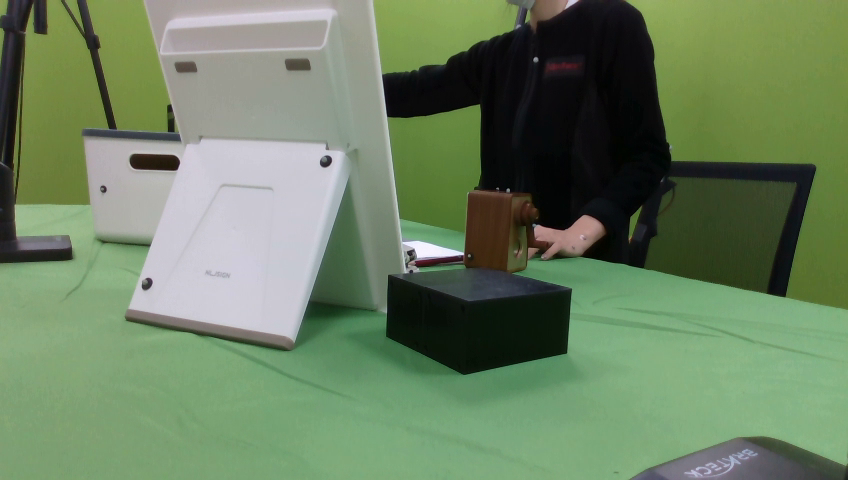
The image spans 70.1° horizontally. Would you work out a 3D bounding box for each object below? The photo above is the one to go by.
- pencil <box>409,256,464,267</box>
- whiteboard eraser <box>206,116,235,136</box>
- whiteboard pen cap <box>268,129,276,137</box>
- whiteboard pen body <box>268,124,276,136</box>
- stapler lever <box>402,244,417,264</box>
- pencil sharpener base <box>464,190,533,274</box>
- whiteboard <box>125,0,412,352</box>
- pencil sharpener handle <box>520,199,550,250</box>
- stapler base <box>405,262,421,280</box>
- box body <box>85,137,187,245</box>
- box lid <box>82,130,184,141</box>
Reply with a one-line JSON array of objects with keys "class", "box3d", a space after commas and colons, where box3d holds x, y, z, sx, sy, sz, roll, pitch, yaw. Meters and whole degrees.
[{"class": "pencil", "box3d": [0.042, 0.028, 0.848, 0.012, 0.012, 0.195, 10, 10, 43]}, {"class": "whiteboard eraser", "box3d": [-0.450, -0.252, 1.335, 0.056, 0.042, 0.112, 1, 7, -22]}, {"class": "whiteboard pen cap", "box3d": [-0.335, -0.236, 1.335, 0.018, 0.018, 0.033, 1, 15, -14]}, {"class": "whiteboard pen body", "box3d": [-0.349, -0.253, 1.389, 0.017, 0.017, 0.140, 1, 17, -13]}, {"class": "stapler lever", "box3d": [-0.066, 0.003, 0.755, 0.117, 0.040, 0.027, 9, 13, 23]}, {"class": "pencil sharpener base", "box3d": [0.102, -0.012, 0.812, 0.076, 0.107, 0.061, 8, 9, 36]}, {"class": "whiteboard", "box3d": [-0.151, -0.049, 0.472, 0.216, 0.305, 0.144, 6, 27, 24]}, {"class": "pencil sharpener handle", "box3d": [0.147, -0.019, 0.785, 0.030, 0.068, 0.036, 8, 26, 36]}, {"class": "stapler base", "box3d": [-0.069, 0.027, 0.759, 0.130, 0.024, 0.041, 9, 13, 23]}, {"class": "box body", "box3d": [-0.340, -0.088, 1.022, 0.254, 0.160, 0.364, 4, 7, 11]}, {"class": "box lid", "box3d": [-0.337, -0.161, 1.011, 0.263, 0.015, 0.372, 4, 7, 11]}]
